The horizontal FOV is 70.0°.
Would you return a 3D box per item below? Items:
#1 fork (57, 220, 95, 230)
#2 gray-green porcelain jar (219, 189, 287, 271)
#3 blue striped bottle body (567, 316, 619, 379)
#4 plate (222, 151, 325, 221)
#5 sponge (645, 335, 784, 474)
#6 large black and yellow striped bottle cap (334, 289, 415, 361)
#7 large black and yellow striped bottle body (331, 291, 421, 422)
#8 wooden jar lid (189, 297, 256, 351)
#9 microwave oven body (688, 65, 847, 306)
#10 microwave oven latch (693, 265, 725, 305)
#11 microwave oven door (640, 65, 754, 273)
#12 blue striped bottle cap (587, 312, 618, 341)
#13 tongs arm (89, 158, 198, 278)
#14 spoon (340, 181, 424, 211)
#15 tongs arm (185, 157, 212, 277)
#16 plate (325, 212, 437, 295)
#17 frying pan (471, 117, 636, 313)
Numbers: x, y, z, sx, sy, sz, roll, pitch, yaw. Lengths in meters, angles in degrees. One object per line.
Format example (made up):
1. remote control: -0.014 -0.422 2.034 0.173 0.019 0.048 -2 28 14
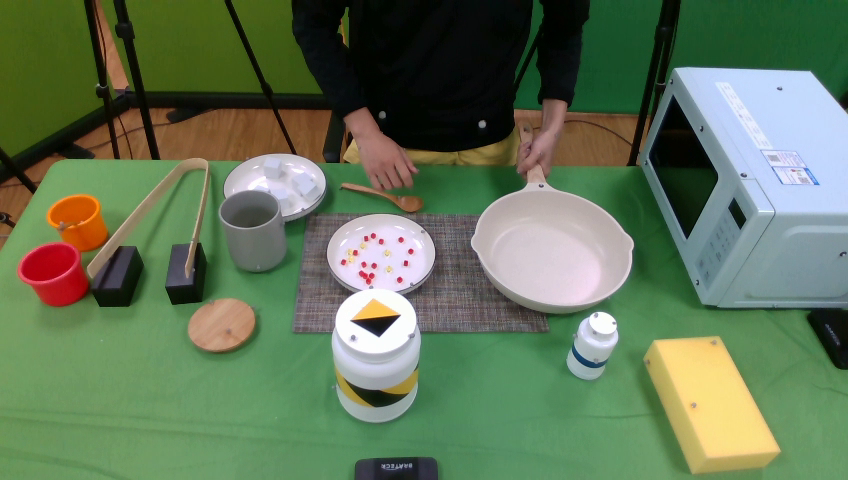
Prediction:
1. fork: -0.624 -0.027 1.087 0.028 0.207 0.018 -3 91 -17
2. gray-green porcelain jar: -0.310 -0.014 1.113 0.106 0.127 0.105 2 46 -2
3. blue striped bottle body: 0.276 0.168 0.984 0.063 0.121 0.062 2 46 -2
4. plate: -0.310 -0.106 1.263 0.208 0.039 0.206 2 46 -2
5. sponge: 0.449 0.253 0.956 0.118 0.061 0.205 -4 46 -7
6. large black and yellow striped bottle cap: -0.069 0.117 0.850 0.115 0.019 0.114 2 45 -2
7. large black and yellow striped bottle body: -0.071 0.175 0.911 0.131 0.185 0.130 2 47 -2
8. wooden jar lid: -0.342 0.145 1.033 0.108 0.021 0.107 2 45 -2
9. microwave oven body: 0.669 -0.111 1.176 0.326 0.261 0.439 0 46 -3
10. microwave oven latch: 0.523 0.082 1.116 0.030 0.029 0.078 2 46 -1
11. microwave oven door: 0.522 -0.147 1.193 0.039 0.245 0.353 0 47 -3
12. blue striped bottle cap: 0.279 0.134 0.946 0.044 0.021 0.044 2 45 -2
13. tongs arm: -0.529 -0.057 1.164 0.028 0.028 0.385 1 36 8
14. spoon: -0.090 -0.100 1.282 0.193 0.022 0.041 18 64 13
15. tongs arm: -0.445 -0.058 1.168 0.051 0.026 0.382 -5 37 -6
16. plate: -0.080 0.030 1.143 0.209 0.038 0.208 2 46 -2
17. frying pan: 0.237 -0.066 1.200 0.307 0.103 0.485 1 57 -3
